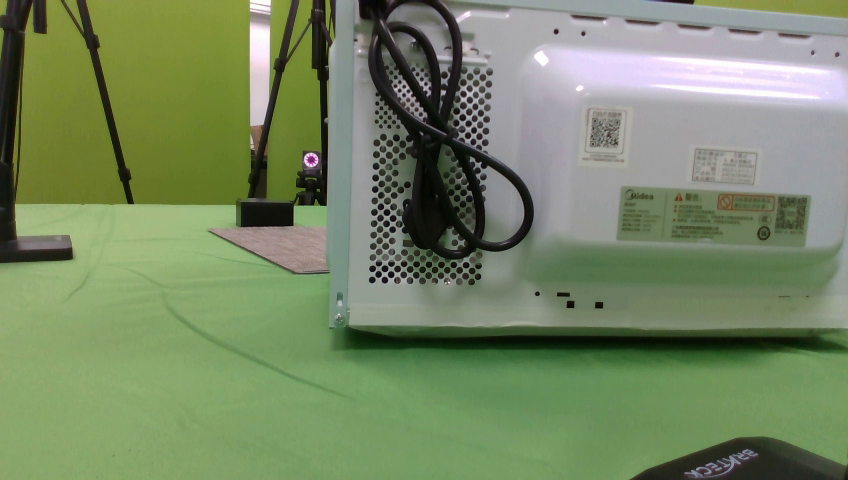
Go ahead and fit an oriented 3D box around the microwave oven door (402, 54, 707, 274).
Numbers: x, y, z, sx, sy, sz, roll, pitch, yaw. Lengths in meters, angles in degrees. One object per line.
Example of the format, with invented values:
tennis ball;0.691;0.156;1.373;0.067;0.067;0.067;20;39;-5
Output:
microwave oven door;0.157;-0.085;0.717;0.357;0.243;0.039;1;8;-8

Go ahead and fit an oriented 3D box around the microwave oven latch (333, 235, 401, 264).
microwave oven latch;-0.065;0.011;0.700;0.079;0.029;0.030;2;6;-9

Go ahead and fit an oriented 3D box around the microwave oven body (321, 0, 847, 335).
microwave oven body;0.133;-0.062;0.567;0.443;0.260;0.325;2;6;-8

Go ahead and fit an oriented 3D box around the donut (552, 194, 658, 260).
donut;0.171;-0.015;0.575;0.099;0.048;0.099;-11;14;3

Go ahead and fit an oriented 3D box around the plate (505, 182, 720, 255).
plate;0.184;-0.024;0.616;0.209;0.038;0.209;5;15;-1
